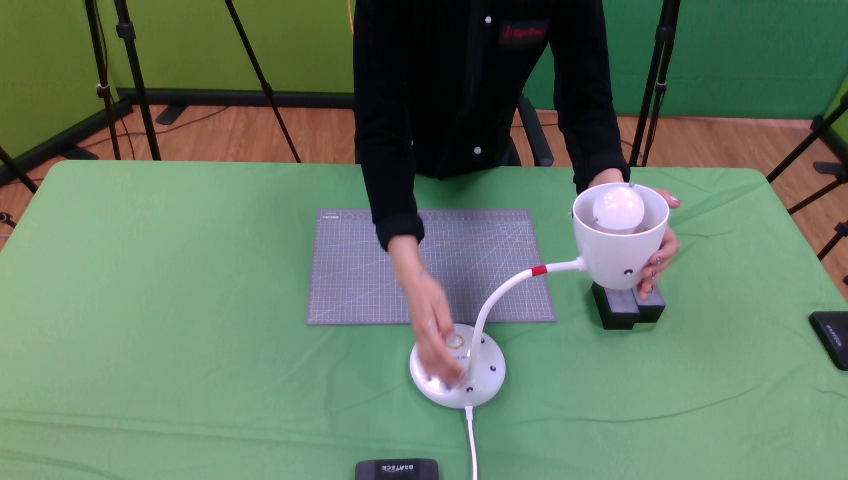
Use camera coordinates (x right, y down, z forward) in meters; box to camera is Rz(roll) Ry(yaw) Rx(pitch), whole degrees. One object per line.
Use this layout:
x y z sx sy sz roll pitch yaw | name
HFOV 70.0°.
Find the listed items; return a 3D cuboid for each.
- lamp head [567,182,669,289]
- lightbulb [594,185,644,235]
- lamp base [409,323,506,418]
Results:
0.241 0.004 0.767 0.112 0.123 0.111 -2 38 2 | lamp head
0.243 -0.018 0.755 0.059 0.108 0.059 -8 32 6 | lightbulb
0.063 0.161 0.940 0.161 0.181 0.178 -10 50 -13 | lamp base
